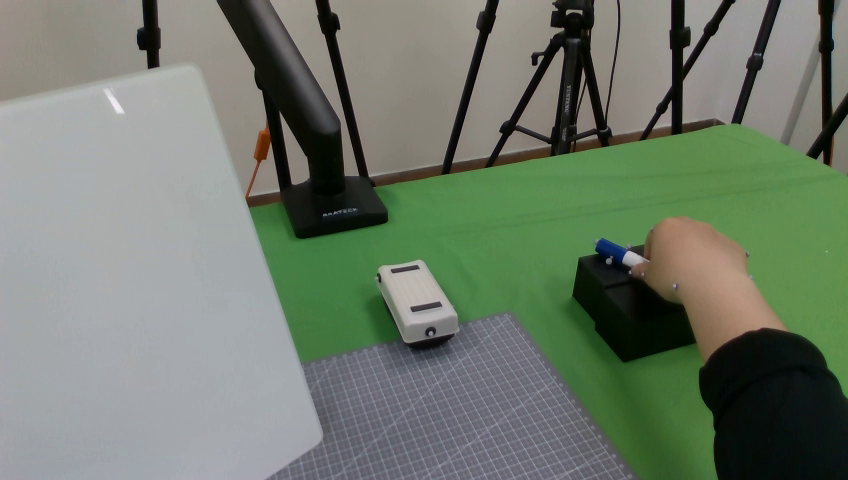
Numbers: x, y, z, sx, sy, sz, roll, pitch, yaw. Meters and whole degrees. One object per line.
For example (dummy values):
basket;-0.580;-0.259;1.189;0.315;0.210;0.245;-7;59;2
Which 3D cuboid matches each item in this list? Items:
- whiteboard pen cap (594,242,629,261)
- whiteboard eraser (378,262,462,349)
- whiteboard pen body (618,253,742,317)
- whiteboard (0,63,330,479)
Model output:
whiteboard pen cap;0.193;0.012;0.623;0.033;0.018;0.018;-10;32;11
whiteboard eraser;-0.007;0.065;0.610;0.056;0.042;0.111;-12;32;-15
whiteboard pen body;0.237;0.038;0.589;0.017;0.017;0.139;-28;43;-36
whiteboard;-0.231;0.056;0.432;0.217;0.307;0.142;-26;22;-33
